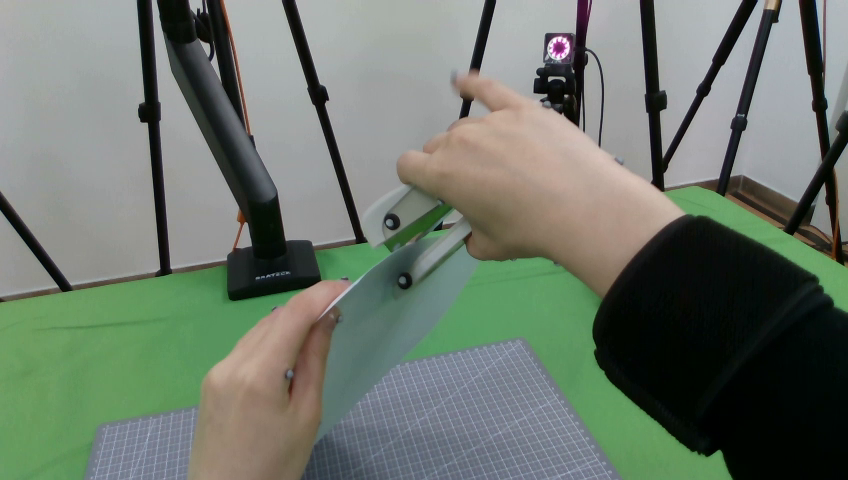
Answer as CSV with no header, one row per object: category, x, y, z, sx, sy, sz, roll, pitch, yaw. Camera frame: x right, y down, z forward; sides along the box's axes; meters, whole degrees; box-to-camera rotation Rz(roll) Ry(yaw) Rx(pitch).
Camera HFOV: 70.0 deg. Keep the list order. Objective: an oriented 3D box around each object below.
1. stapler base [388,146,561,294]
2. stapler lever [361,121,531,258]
stapler base,0.023,-0.016,0.363,0.024,0.130,0.041,52,24,4
stapler lever,0.009,-0.035,0.365,0.040,0.118,0.027,50,24,4
